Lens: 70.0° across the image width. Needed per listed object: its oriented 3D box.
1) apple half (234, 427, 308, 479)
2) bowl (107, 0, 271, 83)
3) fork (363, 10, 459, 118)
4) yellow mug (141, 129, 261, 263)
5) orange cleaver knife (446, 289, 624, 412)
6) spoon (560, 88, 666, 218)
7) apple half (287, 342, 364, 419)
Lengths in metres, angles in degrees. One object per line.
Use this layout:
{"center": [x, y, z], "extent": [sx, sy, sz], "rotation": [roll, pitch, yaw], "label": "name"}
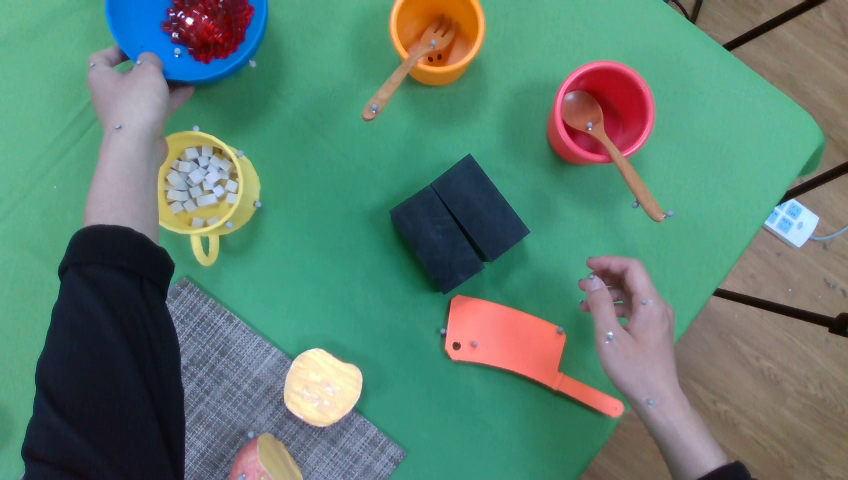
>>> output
{"center": [-0.159, 0.234, 0.607], "extent": [0.053, 0.074, 0.081], "rotation": [-33, 94, 2], "label": "apple half"}
{"center": [-0.222, -0.224, 0.605], "extent": [0.151, 0.077, 0.151], "rotation": [0, 90, -4], "label": "bowl"}
{"center": [-0.010, -0.172, 0.575], "extent": [0.028, 0.019, 0.206], "rotation": [31, 46, -1], "label": "fork"}
{"center": [-0.221, -0.041, 0.612], "extent": [0.100, 0.064, 0.131], "rotation": [-5, 91, -2], "label": "yellow mug"}
{"center": [0.120, 0.117, 0.643], "extent": [0.211, 0.012, 0.077], "rotation": [23, 84, 0], "label": "orange cleaver knife"}
{"center": [0.180, -0.089, 0.583], "extent": [0.041, 0.022, 0.191], "rotation": [-17, 45, -1], "label": "spoon"}
{"center": [-0.104, 0.149, 0.625], "extent": [0.081, 0.033, 0.080], "rotation": [7, 57, -10], "label": "apple half"}
